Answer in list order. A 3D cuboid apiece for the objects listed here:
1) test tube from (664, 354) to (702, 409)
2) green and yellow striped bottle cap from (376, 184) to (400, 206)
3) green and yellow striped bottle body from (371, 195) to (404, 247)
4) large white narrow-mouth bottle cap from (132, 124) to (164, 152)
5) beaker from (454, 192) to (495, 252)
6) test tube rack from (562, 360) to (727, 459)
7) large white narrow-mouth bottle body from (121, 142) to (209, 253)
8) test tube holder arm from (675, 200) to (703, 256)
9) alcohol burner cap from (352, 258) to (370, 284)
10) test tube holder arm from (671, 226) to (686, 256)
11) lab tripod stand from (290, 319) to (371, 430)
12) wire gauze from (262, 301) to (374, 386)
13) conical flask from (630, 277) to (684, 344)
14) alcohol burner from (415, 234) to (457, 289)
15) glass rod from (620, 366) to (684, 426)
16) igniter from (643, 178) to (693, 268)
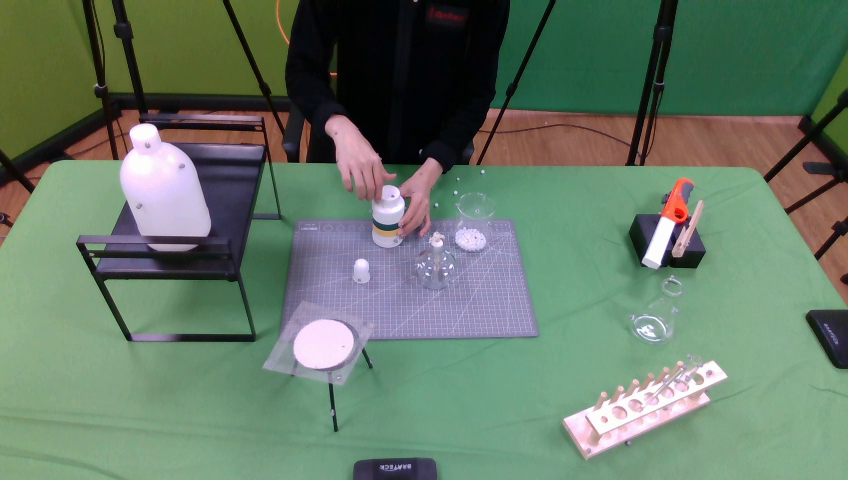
[{"bbox_3d":[0.385,0.215,0.906,0.017,0.151,0.017,-1,49,1],"label":"test tube"},{"bbox_3d":[-0.068,-0.084,1.128,0.045,0.020,0.045,2,48,-2],"label":"green and yellow striped bottle cap"},{"bbox_3d":[-0.071,-0.047,1.166,0.063,0.120,0.063,2,46,-2],"label":"green and yellow striped bottle body"},{"bbox_3d":[-0.370,-0.137,0.812,0.038,0.024,0.037,3,46,-3],"label":"large white narrow-mouth bottle cap"},{"bbox_3d":[0.097,-0.034,1.180,0.074,0.101,0.084,23,48,17],"label":"beaker"},{"bbox_3d":[0.341,0.247,0.940,0.243,0.085,0.066,-16,49,-18],"label":"test tube rack"},{"bbox_3d":[-0.378,-0.077,0.875,0.102,0.195,0.101,3,46,-3],"label":"large white narrow-mouth bottle body"},{"bbox_3d":[0.523,-0.025,1.190,0.013,0.015,0.178,1,36,41],"label":"test tube holder arm"},{"bbox_3d":[-0.117,0.055,1.118,0.034,0.048,0.033,1,46,-1],"label":"alcohol burner cap"},{"bbox_3d":[0.494,0.001,1.167,0.010,0.015,0.087,1,36,42],"label":"test tube holder arm"},{"bbox_3d":[-0.146,0.193,0.923,0.148,0.132,0.147,1,47,-1],"label":"lab tripod stand"},{"bbox_3d":[-0.150,0.148,0.873,0.121,0.011,0.124,14,46,12],"label":"wire gauze"},{"bbox_3d":[0.408,0.117,1.045,0.075,0.122,0.075,2,46,-2],"label":"conical flask"},{"bbox_3d":[0.022,0.033,1.099,0.078,0.120,0.077,1,47,-1],"label":"alcohol burner"},{"bbox_3d":[0.322,0.227,0.866,0.008,0.200,0.008,6,51,-7],"label":"glass rod"},{"bbox_3d":[0.488,-0.042,1.205,0.057,0.025,0.276,30,51,11],"label":"igniter"}]
